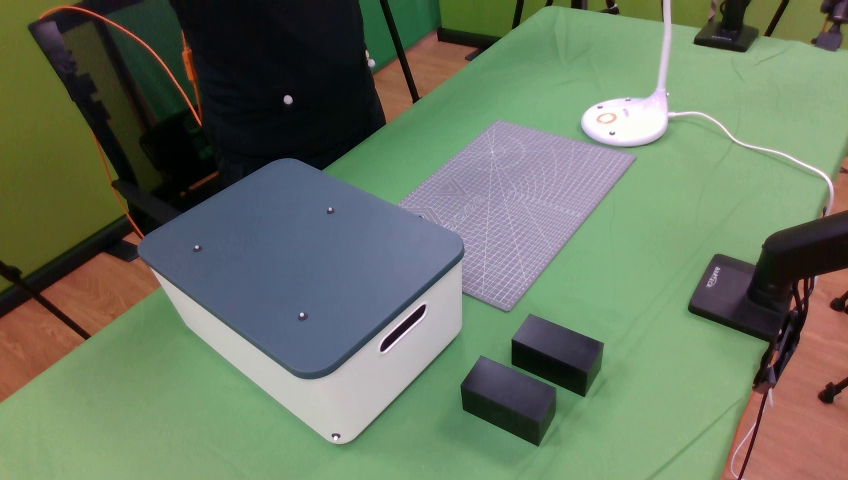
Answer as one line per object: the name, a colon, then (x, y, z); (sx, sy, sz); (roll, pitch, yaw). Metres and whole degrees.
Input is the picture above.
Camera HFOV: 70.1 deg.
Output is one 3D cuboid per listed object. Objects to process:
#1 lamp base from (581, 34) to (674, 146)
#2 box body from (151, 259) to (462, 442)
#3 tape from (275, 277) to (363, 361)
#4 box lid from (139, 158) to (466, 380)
lamp base: (0.392, -0.291, 1.129); (0.180, 0.181, 0.159); (-11, 41, -8)
box body: (-0.152, 0.064, 0.807); (0.361, 0.161, 0.255); (26, 51, 33)
tape: (-0.143, 0.107, 0.831); (0.117, 0.053, 0.116); (-4, 41, 4)
box lid: (-0.158, 0.010, 0.757); (0.368, 0.015, 0.264); (26, 50, 33)
